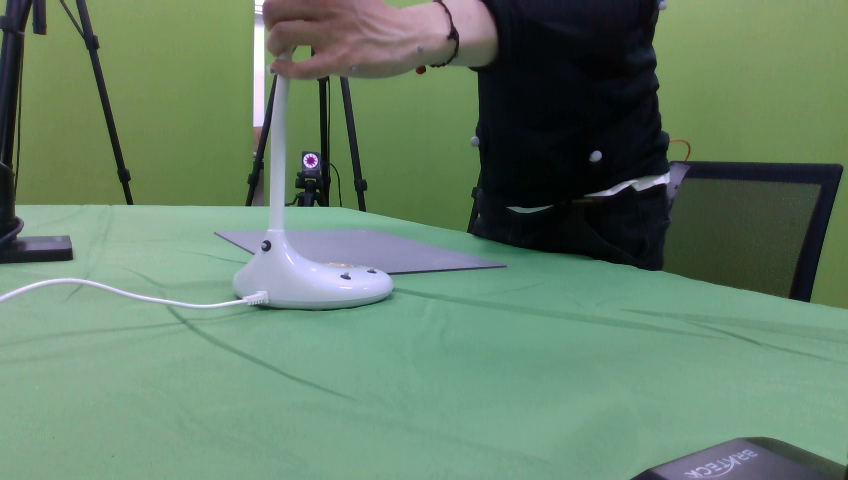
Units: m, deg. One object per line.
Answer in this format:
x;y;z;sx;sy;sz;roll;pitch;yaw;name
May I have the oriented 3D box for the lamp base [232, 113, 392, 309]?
-0.113;-0.031;0.594;0.160;0.180;0.179;4;10;18;lamp base
